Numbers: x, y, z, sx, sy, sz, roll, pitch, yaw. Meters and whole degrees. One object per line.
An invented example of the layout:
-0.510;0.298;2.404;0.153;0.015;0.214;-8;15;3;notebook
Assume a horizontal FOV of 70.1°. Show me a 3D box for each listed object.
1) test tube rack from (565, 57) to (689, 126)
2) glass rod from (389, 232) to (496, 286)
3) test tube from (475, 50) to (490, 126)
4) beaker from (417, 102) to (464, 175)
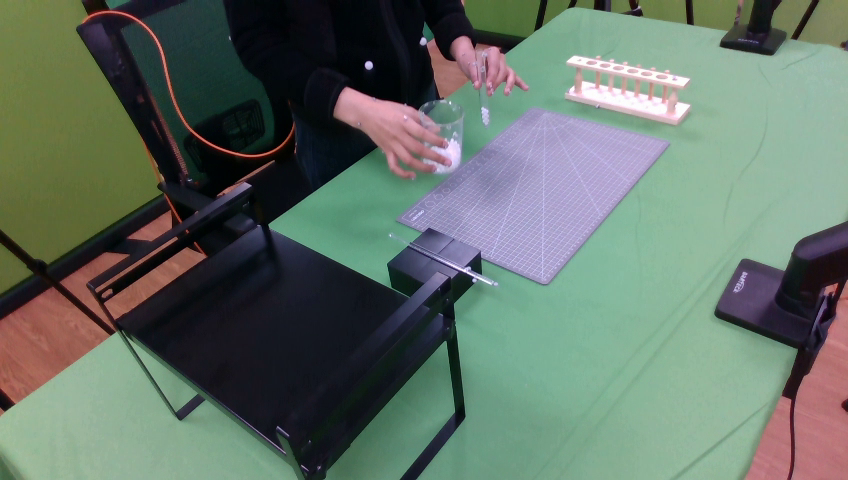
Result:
0.412;-0.311;1.230;0.240;0.085;0.067;24;49;32;test tube rack
0.022;0.025;0.878;0.198;0.008;0.008;25;50;33;glass rod
0.103;-0.265;1.067;0.017;0.151;0.017;-6;46;7;test tube
0.029;-0.165;0.989;0.073;0.100;0.084;26;50;26;beaker
